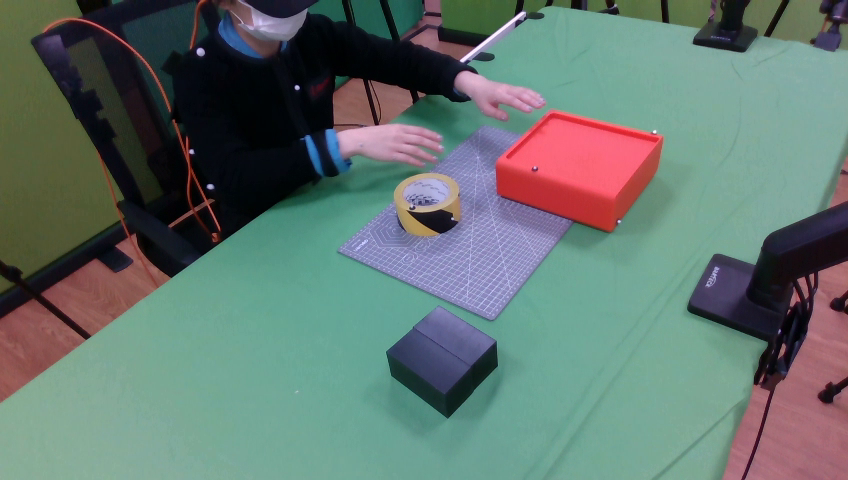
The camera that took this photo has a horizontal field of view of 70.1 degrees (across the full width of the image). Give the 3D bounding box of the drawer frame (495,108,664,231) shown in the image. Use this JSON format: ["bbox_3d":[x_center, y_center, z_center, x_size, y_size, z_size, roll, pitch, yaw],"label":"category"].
[{"bbox_3d":[0.262,-0.127,1.028,0.212,0.083,0.202,22,48,29],"label":"drawer frame"}]

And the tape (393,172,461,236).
[{"bbox_3d":[0.005,-0.061,1.012,0.117,0.053,0.116,-4,40,4],"label":"tape"}]

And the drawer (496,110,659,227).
[{"bbox_3d":[0.259,-0.127,1.028,0.210,0.073,0.195,23,48,30],"label":"drawer"}]
